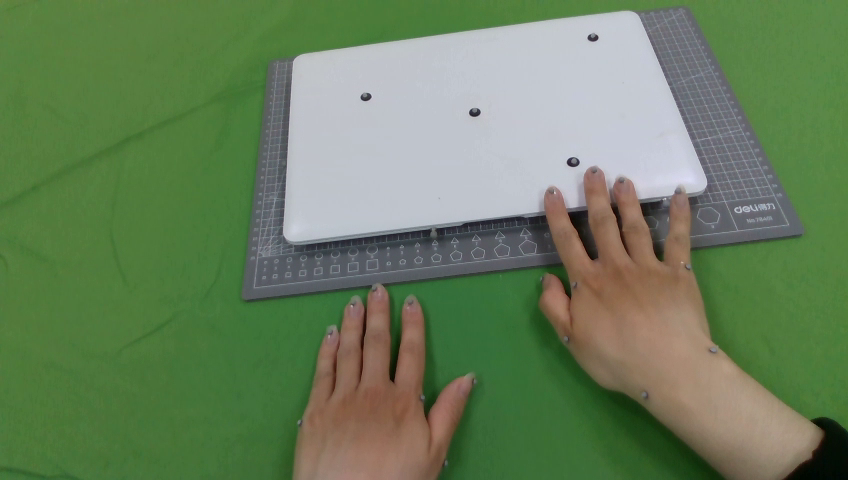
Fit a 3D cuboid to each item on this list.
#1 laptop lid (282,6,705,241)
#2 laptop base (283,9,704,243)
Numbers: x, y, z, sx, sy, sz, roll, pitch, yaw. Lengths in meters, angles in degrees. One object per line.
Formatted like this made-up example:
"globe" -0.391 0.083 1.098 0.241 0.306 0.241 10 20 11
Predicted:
"laptop lid" 0.047 -0.117 0.554 0.356 0.013 0.239 -6 58 3
"laptop base" 0.048 -0.112 0.565 0.354 0.023 0.233 -7 60 2
